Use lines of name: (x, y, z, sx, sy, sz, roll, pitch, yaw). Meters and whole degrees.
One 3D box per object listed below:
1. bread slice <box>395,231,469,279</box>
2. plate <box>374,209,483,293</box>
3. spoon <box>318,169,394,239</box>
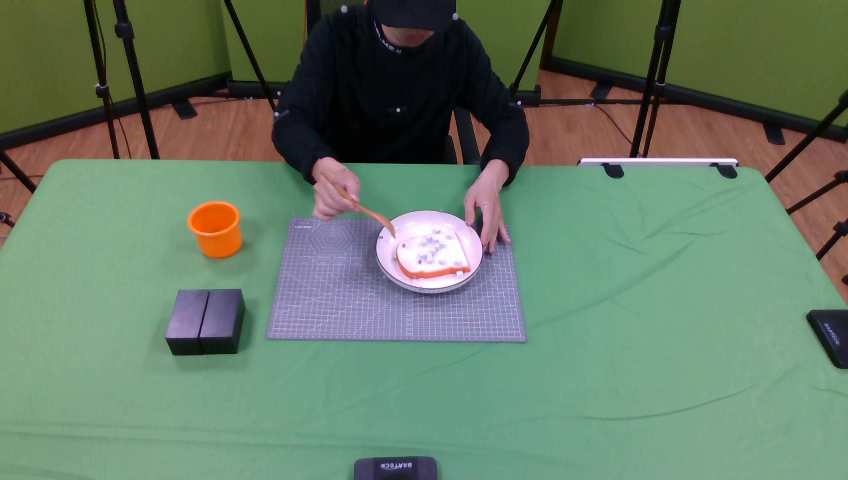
bread slice: (0.011, 0.030, 1.158, 0.132, 0.019, 0.104, -9, 47, -13)
plate: (0.009, 0.024, 1.160, 0.209, 0.038, 0.208, 2, 46, -2)
spoon: (-0.115, -0.061, 1.058, 0.021, 0.195, 0.041, -45, 35, 12)
